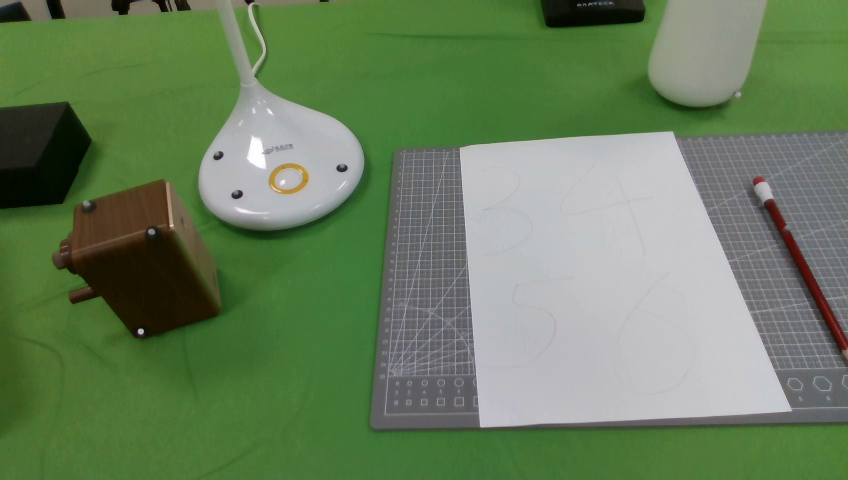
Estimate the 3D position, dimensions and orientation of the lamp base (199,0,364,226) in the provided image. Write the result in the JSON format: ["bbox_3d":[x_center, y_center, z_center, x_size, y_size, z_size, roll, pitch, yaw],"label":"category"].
[{"bbox_3d":[-0.151,-0.132,0.543,0.161,0.182,0.177,-26,50,-16],"label":"lamp base"}]

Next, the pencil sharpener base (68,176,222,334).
[{"bbox_3d":[-0.212,0.015,0.470,0.077,0.108,0.060,-18,50,-9],"label":"pencil sharpener base"}]

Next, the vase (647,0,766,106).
[{"bbox_3d":[0.276,-0.229,0.576,0.098,0.202,0.097,-3,48,4],"label":"vase"}]

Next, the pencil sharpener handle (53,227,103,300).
[{"bbox_3d":[-0.262,0.022,0.453,0.031,0.068,0.035,-18,54,-9],"label":"pencil sharpener handle"}]

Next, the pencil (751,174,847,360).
[{"bbox_3d":[0.300,0.018,0.483,0.012,0.012,0.192,-4,51,2],"label":"pencil"}]

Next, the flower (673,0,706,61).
[{"bbox_3d":[0.264,-0.267,0.501,0.044,0.364,0.038,40,76,18],"label":"flower"}]
